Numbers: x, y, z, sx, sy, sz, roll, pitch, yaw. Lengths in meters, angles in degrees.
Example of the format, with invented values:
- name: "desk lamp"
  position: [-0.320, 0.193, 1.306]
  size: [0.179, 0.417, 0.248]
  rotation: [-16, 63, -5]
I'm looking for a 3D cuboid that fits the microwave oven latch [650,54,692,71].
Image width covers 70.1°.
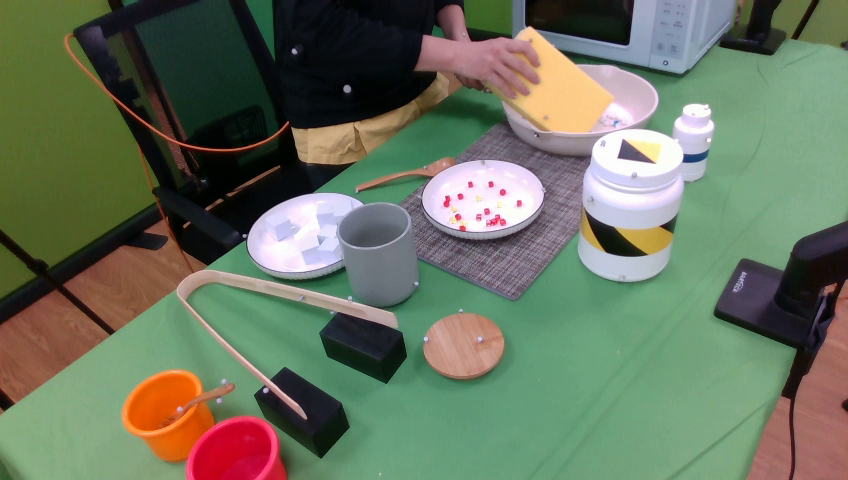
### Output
- name: "microwave oven latch"
  position: [0.531, -0.386, 1.301]
  size: [0.078, 0.029, 0.030]
  rotation: [25, 51, 33]

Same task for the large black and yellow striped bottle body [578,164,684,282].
- name: "large black and yellow striped bottle body"
  position: [0.291, -0.046, 0.859]
  size: [0.131, 0.185, 0.130]
  rotation: [-4, 41, 4]

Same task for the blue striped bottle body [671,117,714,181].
- name: "blue striped bottle body"
  position: [0.449, -0.165, 1.022]
  size: [0.063, 0.121, 0.063]
  rotation: [-5, 41, 4]

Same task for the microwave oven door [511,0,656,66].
- name: "microwave oven door"
  position: [0.351, -0.540, 1.349]
  size: [0.353, 0.245, 0.039]
  rotation: [24, 50, 31]

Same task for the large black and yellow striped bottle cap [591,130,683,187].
- name: "large black and yellow striped bottle cap"
  position: [0.282, -0.111, 0.803]
  size: [0.115, 0.019, 0.114]
  rotation: [-3, 41, 3]

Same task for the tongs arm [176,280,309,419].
- name: "tongs arm"
  position: [-0.254, 0.133, 0.801]
  size: [0.028, 0.028, 0.384]
  rotation: [-41, 41, -23]

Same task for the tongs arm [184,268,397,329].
- name: "tongs arm"
  position: [-0.202, 0.084, 0.848]
  size: [0.382, 0.027, 0.051]
  rotation: [11, 45, 35]

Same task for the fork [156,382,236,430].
- name: "fork"
  position: [-0.262, 0.189, 0.690]
  size: [0.018, 0.206, 0.028]
  rotation: [49, 43, -7]

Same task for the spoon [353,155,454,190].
- name: "spoon"
  position: [-0.038, -0.123, 1.116]
  size: [0.194, 0.022, 0.041]
  rotation: [-12, 59, -4]

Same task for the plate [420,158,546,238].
- name: "plate"
  position: [0.099, -0.067, 1.017]
  size: [0.209, 0.038, 0.208]
  rotation: [-4, 40, 4]

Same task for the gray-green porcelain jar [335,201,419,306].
- name: "gray-green porcelain jar"
  position: [-0.064, 0.024, 0.872]
  size: [0.106, 0.127, 0.105]
  rotation: [-4, 41, 4]

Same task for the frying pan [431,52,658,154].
- name: "frying pan"
  position: [0.216, -0.302, 1.223]
  size: [0.484, 0.103, 0.308]
  rotation: [29, 49, 24]

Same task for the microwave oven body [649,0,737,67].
- name: "microwave oven body"
  position: [0.475, -0.602, 1.411]
  size: [0.438, 0.261, 0.327]
  rotation: [23, 50, 32]

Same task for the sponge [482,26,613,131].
- name: "sponge"
  position: [0.226, -0.275, 1.106]
  size: [0.118, 0.208, 0.060]
  rotation: [-54, 13, 4]

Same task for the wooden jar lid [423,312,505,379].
- name: "wooden jar lid"
  position: [0.053, 0.142, 0.800]
  size: [0.108, 0.021, 0.108]
  rotation: [-5, 39, 4]

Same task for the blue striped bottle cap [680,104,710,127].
- name: "blue striped bottle cap"
  position: [0.443, -0.205, 0.989]
  size: [0.044, 0.021, 0.044]
  rotation: [-1, 41, 2]

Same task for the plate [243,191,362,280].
- name: "plate"
  position: [-0.188, -0.005, 0.992]
  size: [0.207, 0.039, 0.206]
  rotation: [-4, 41, 4]
